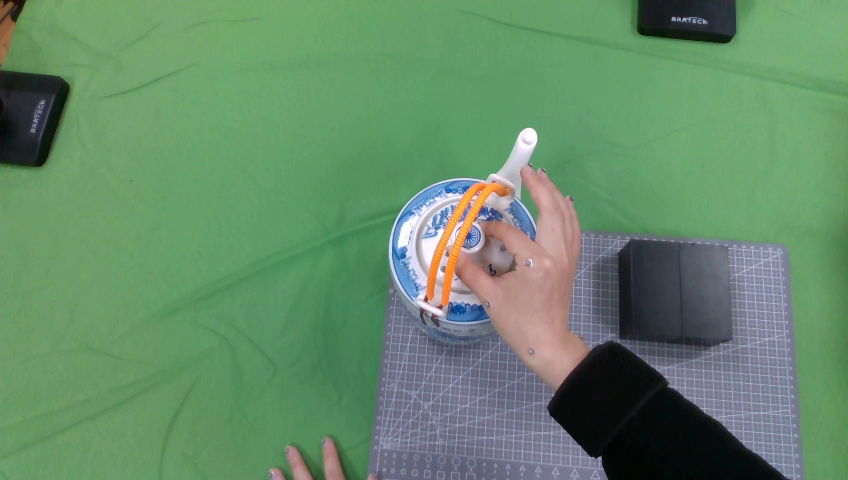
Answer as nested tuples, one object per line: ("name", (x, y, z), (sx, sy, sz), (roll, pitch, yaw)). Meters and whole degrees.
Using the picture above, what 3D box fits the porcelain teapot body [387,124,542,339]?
("porcelain teapot body", (0.051, -0.014, 0.588), (0.145, 0.226, 0.205), (26, 76, 9))

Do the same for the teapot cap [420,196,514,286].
("teapot cap", (0.037, -0.001, 0.535), (0.085, 0.044, 0.084), (-2, 71, 6))
